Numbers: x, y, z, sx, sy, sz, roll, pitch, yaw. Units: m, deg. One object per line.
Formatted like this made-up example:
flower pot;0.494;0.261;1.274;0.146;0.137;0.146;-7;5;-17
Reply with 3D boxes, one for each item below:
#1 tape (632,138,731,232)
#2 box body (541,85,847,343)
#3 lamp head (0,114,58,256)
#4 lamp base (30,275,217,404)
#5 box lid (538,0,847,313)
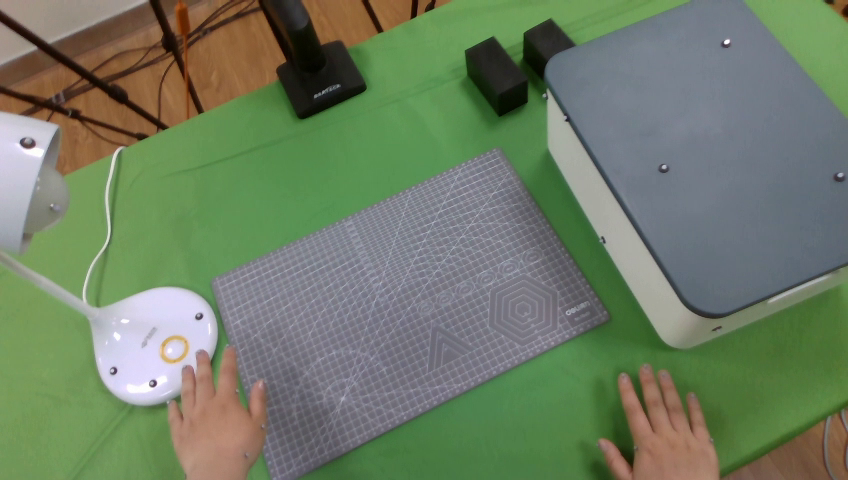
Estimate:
tape;0.329;-0.072;0.781;0.117;0.053;0.116;-3;63;6
box body;0.324;-0.085;0.732;0.254;0.162;0.360;-23;63;-3
lamp head;-0.367;-0.052;0.475;0.124;0.112;0.111;13;61;-23
lamp base;-0.374;0.100;0.734;0.178;0.182;0.159;9;65;16
box lid;0.314;-0.120;0.668;0.263;0.015;0.368;-23;63;-3
